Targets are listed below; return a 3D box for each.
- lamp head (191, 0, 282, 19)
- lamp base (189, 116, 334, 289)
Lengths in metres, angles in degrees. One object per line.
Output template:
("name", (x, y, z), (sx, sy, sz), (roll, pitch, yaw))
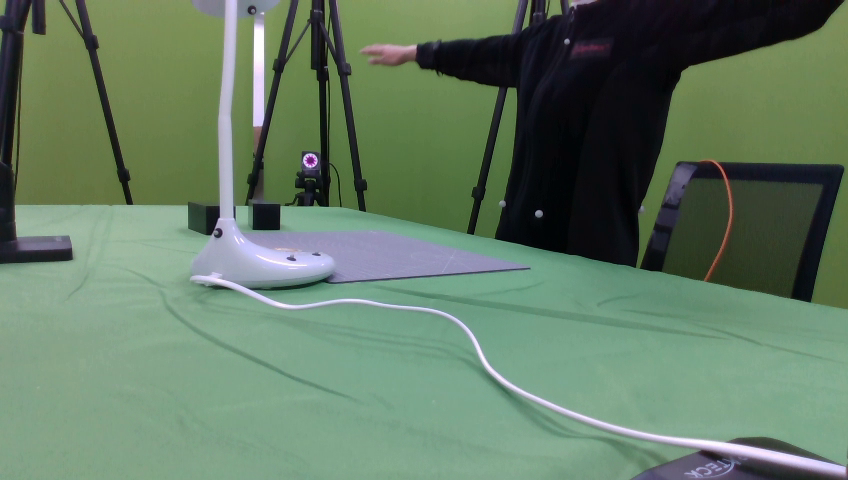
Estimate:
("lamp head", (-0.222, -0.330, 0.689), (0.112, 0.112, 0.123), (3, -33, -4))
("lamp base", (-0.185, -0.044, 0.669), (0.160, 0.180, 0.179), (3, 10, 14))
